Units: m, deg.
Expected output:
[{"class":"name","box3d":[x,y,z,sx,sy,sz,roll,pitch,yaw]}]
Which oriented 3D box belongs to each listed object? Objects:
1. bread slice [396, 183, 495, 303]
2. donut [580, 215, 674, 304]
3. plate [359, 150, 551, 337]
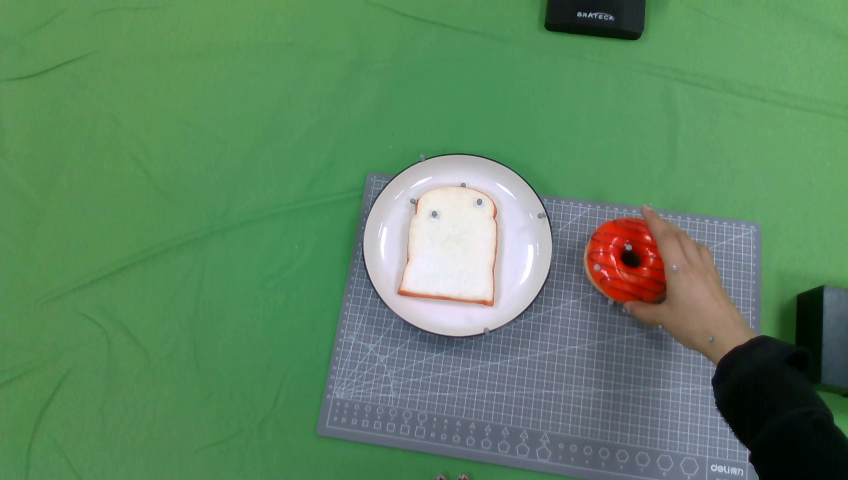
[{"class":"bread slice","box3d":[0.027,0.000,0.669,0.105,0.019,0.131,5,75,2]},{"class":"donut","box3d":[0.218,0.020,0.651,0.099,0.048,0.098,0,73,1]},{"class":"plate","box3d":[0.033,0.004,0.666,0.209,0.038,0.208,0,75,1]}]
